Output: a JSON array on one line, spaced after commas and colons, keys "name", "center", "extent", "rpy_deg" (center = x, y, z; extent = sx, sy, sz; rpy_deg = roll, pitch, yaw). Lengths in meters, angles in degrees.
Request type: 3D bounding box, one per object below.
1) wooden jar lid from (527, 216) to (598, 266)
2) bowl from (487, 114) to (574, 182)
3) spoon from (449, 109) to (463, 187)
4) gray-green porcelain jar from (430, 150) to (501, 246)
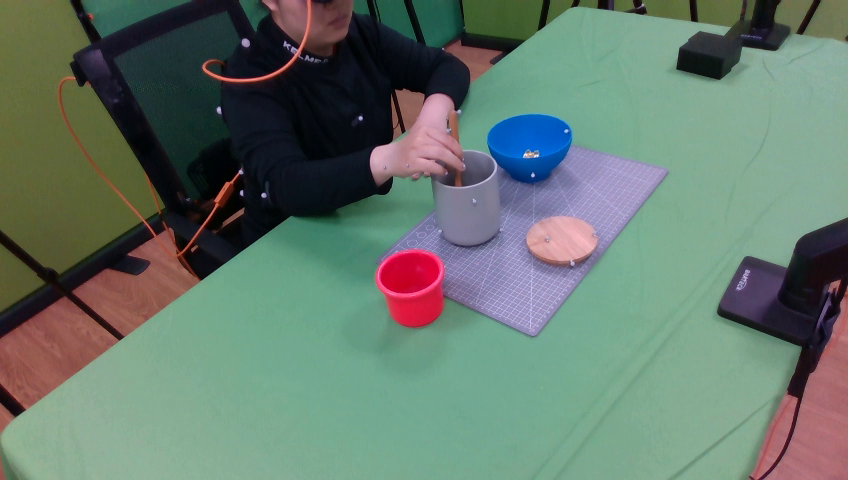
[{"name": "wooden jar lid", "center": [0.214, 0.003, 0.937], "extent": [0.108, 0.021, 0.108], "rpy_deg": [-4, 40, 4]}, {"name": "bowl", "center": [0.190, -0.156, 1.085], "extent": [0.151, 0.077, 0.150], "rpy_deg": [-5, 40, 5]}, {"name": "spoon", "center": [0.050, -0.106, 0.922], "extent": [0.041, 0.194, 0.021], "rpy_deg": [3, 29, 17]}, {"name": "gray-green porcelain jar", "center": [0.069, -0.062, 0.959], "extent": [0.106, 0.127, 0.105], "rpy_deg": [-5, 40, 5]}]
